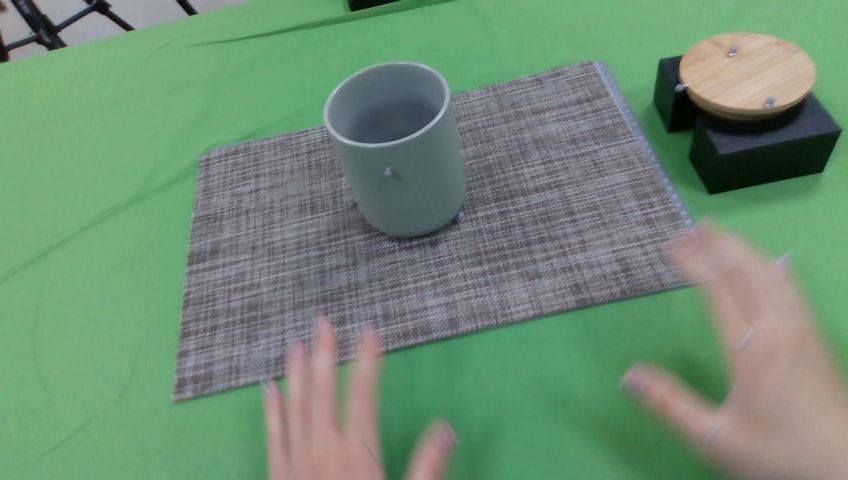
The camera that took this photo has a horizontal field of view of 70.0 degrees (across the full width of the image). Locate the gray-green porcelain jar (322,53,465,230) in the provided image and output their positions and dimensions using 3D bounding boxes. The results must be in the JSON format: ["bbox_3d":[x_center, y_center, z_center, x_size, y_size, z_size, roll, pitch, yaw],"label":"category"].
[{"bbox_3d":[-0.021,-0.079,0.531,0.106,0.128,0.105,-6,52,8],"label":"gray-green porcelain jar"}]

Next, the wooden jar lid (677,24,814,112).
[{"bbox_3d":[0.278,-0.150,0.530,0.108,0.021,0.107,-6,54,8],"label":"wooden jar lid"}]
